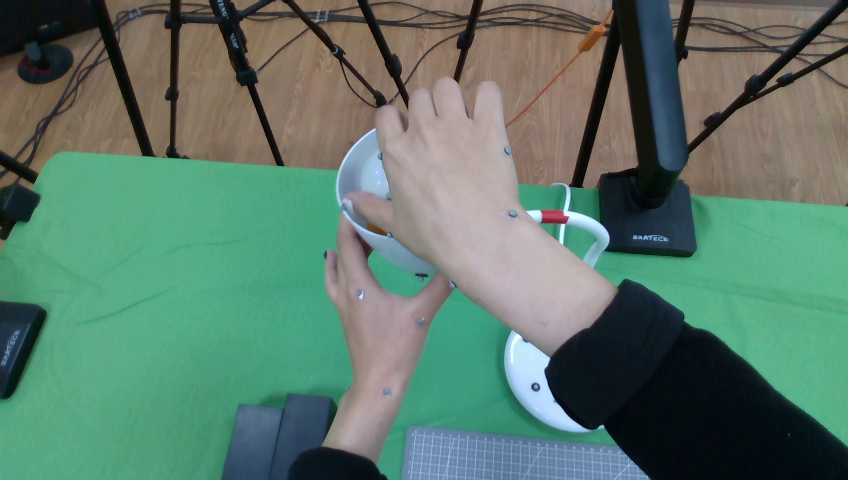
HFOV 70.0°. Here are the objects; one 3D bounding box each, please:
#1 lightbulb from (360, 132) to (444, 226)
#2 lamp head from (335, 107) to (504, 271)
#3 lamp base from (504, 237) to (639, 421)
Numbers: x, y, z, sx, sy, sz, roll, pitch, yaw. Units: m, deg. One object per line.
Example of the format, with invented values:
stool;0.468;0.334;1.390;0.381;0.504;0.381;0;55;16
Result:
lightbulb;-0.009;-0.038;0.458;0.059;0.108;0.059;-7;65;15
lamp head;0.004;-0.028;0.486;0.112;0.124;0.111;-8;60;15
lamp base;0.172;0.089;0.665;0.161;0.182;0.177;-8;59;-3
